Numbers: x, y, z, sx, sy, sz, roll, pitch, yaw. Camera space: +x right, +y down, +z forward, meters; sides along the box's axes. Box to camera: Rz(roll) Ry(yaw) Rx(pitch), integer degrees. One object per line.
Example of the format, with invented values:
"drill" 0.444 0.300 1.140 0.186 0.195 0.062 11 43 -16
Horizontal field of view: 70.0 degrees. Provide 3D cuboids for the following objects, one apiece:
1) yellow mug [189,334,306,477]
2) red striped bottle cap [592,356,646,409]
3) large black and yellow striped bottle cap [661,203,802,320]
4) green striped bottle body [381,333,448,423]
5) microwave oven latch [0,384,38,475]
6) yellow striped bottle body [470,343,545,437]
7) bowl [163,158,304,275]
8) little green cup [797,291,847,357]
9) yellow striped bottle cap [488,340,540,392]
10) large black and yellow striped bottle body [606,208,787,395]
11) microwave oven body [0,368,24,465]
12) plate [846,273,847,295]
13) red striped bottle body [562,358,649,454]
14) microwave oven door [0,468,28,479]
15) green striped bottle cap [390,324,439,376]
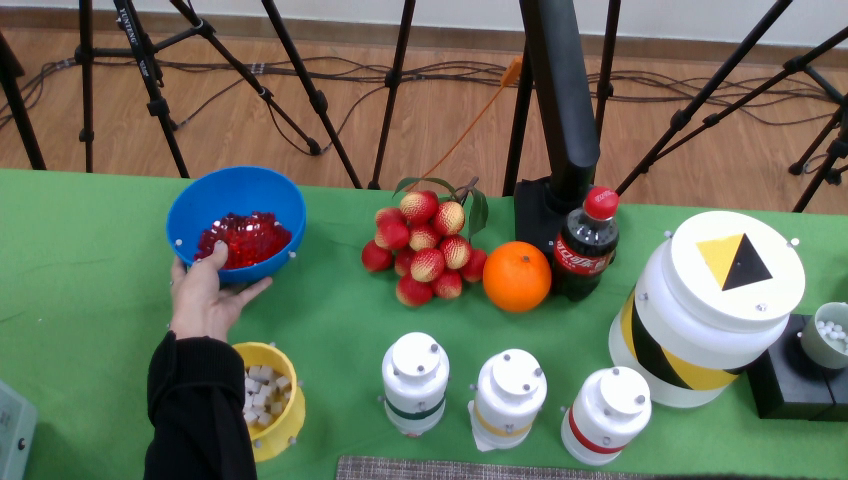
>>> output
"yellow mug" -0.175 0.164 0.588 0.100 0.064 0.130 11 56 7
"red striped bottle cap" 0.171 0.124 0.530 0.044 0.018 0.044 3 54 -4
"large black and yellow striped bottle cap" 0.268 0.016 0.531 0.115 0.019 0.114 1 54 -1
"green striped bottle body" -0.009 0.128 0.586 0.063 0.120 0.062 1 55 -1
"microwave oven latch" -0.387 0.177 0.566 0.030 0.030 0.078 -3 56 -4
"yellow striped bottle body" 0.079 0.140 0.580 0.063 0.121 0.062 0 55 0
"bowl" -0.210 -0.014 0.703 0.151 0.077 0.150 1 55 -1
"little green cup" 0.416 0.088 0.616 0.061 0.039 0.061 2 54 -2
"yellow striped bottle cap" 0.080 0.111 0.537 0.044 0.019 0.044 1 56 -1
"large black and yellow striped bottle body" 0.268 0.063 0.601 0.131 0.185 0.129 1 55 -1
"microwave oven body" -0.513 0.278 0.375 0.326 0.262 0.437 -4 56 -5
"plate" 0.583 0.084 0.686 0.209 0.038 0.207 1 56 -1
"red striped bottle body" 0.171 0.155 0.573 0.063 0.121 0.062 0 54 1
"microwave oven door" -0.361 0.299 0.361 0.039 0.246 0.352 -5 56 -3
"green striped bottle cap" -0.009 0.098 0.543 0.044 0.020 0.044 1 53 -1
